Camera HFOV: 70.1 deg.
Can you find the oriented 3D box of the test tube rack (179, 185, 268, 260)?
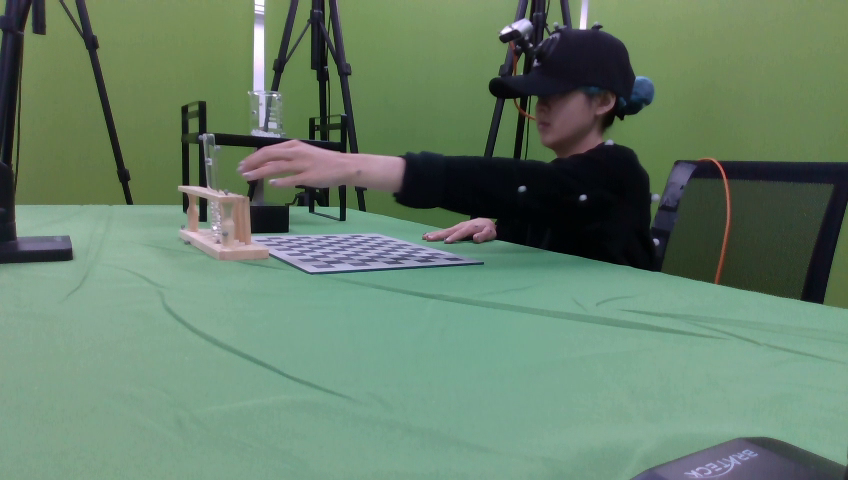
[{"bbox_3d":[-0.303,-0.031,0.898,0.067,0.085,0.241,-2,9,-33],"label":"test tube rack"}]

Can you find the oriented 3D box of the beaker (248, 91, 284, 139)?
[{"bbox_3d":[-0.353,-0.277,1.343,0.073,0.100,0.084,8,9,39],"label":"beaker"}]

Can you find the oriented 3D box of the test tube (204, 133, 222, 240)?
[{"bbox_3d":[-0.296,-0.075,0.849,0.017,0.150,0.017,-2,6,1],"label":"test tube"}]
